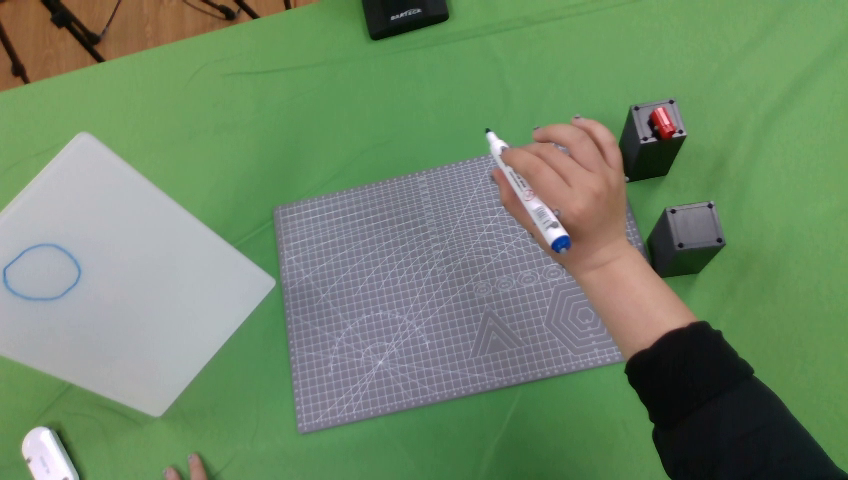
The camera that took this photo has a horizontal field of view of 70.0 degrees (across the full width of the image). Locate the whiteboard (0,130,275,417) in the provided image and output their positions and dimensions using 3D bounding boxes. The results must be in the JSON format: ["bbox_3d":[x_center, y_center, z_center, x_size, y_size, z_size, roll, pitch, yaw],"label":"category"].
[{"bbox_3d":[-0.364,0.031,0.685,0.142,0.309,0.217,32,78,38],"label":"whiteboard"}]

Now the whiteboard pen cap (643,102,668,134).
[{"bbox_3d":[0.255,-0.134,0.666,0.017,0.017,0.032,-19,71,2],"label":"whiteboard pen cap"}]

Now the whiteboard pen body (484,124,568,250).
[{"bbox_3d":[0.076,-0.048,0.479,0.017,0.017,0.139,-25,55,-1],"label":"whiteboard pen body"}]

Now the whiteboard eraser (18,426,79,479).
[{"bbox_3d":[-0.455,0.270,0.732,0.041,0.019,0.100,-40,71,-7],"label":"whiteboard eraser"}]
